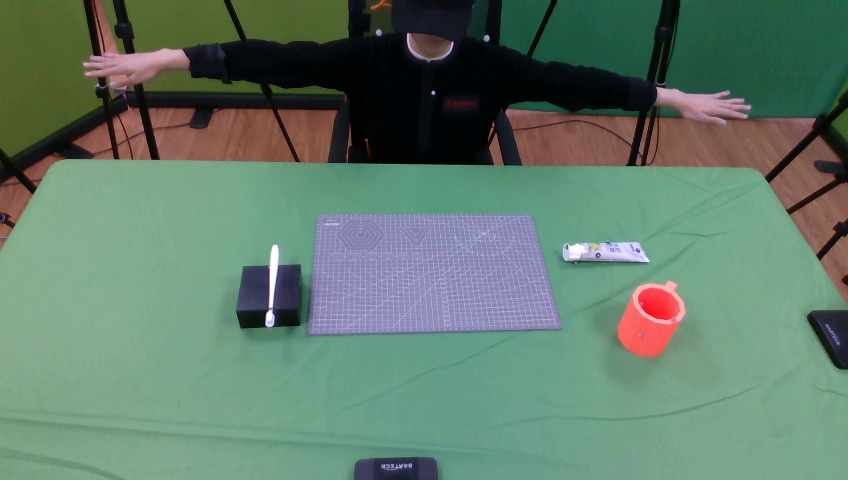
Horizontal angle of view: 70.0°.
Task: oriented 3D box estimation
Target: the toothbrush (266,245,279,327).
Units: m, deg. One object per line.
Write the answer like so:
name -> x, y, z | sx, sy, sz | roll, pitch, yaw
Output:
toothbrush -> -0.261, 0.073, 1.042 | 0.014, 0.017, 0.180 | -6, 46, -3

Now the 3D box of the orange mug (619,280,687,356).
orange mug -> 0.401, 0.125, 1.045 | 0.083, 0.101, 0.126 | 30, 56, 24

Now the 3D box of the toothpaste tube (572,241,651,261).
toothpaste tube -> 0.363, 0.024, 1.191 | 0.165, 0.035, 0.054 | -2, 50, -11

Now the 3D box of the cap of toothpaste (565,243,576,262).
cap of toothpaste -> 0.285, 0.023, 1.178 | 0.011, 0.037, 0.037 | -3, 46, -11
